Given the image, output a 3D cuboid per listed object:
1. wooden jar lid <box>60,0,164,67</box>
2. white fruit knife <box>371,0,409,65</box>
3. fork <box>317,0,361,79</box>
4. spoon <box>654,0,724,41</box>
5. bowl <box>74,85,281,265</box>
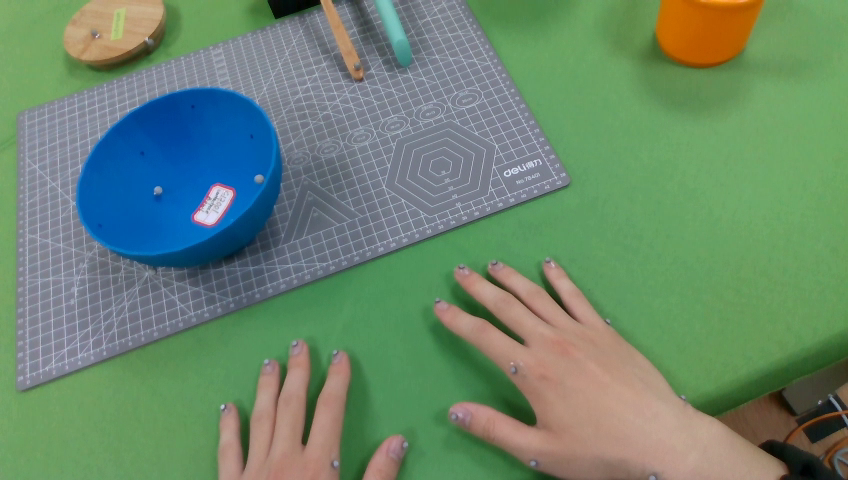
[{"bbox_3d":[-0.321,-0.220,0.630,0.108,0.021,0.107,-3,61,5],"label":"wooden jar lid"},{"bbox_3d":[-0.056,-0.258,0.576,0.016,0.027,0.206,-21,74,-5],"label":"white fruit knife"},{"bbox_3d":[-0.103,-0.242,0.572,0.028,0.019,0.206,-23,79,-10],"label":"fork"},{"bbox_3d":[0.266,-0.228,0.473,0.022,0.194,0.041,11,52,-37],"label":"spoon"},{"bbox_3d":[-0.175,-0.037,0.469,0.151,0.077,0.150,-4,61,7],"label":"bowl"}]
